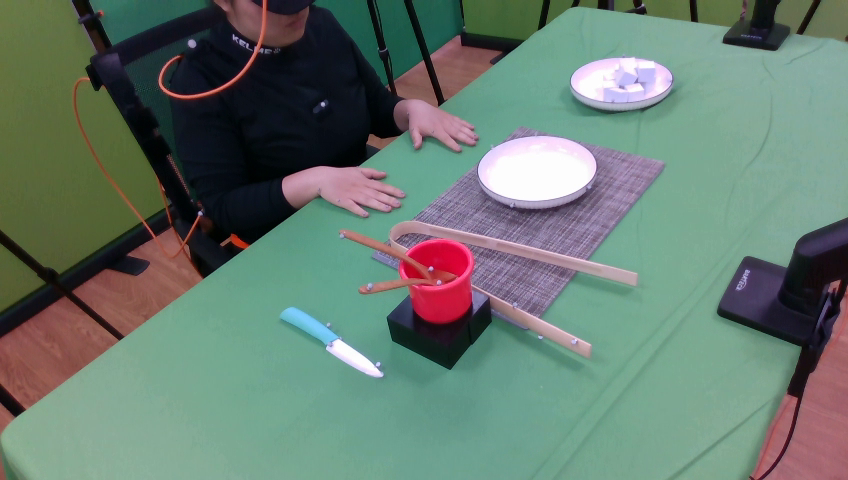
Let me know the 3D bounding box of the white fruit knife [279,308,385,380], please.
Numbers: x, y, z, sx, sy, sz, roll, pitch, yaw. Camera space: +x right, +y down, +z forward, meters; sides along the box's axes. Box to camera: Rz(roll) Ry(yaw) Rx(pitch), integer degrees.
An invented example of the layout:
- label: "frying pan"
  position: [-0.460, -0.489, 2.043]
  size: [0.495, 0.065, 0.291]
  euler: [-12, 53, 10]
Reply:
- label: "white fruit knife"
  position: [-0.130, 0.143, 0.845]
  size: [0.205, 0.016, 0.027]
  euler: [25, 80, 32]

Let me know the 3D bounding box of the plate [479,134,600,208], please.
- label: "plate"
  position: [0.202, -0.117, 1.065]
  size: [0.207, 0.039, 0.206]
  euler: [-5, 40, 5]

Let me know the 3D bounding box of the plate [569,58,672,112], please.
- label: "plate"
  position: [0.411, -0.323, 1.274]
  size: [0.209, 0.038, 0.208]
  euler: [-5, 41, 5]

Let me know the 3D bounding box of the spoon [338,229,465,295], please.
- label: "spoon"
  position: [-0.025, 0.026, 0.776]
  size: [0.021, 0.195, 0.041]
  euler: [-41, 34, 32]

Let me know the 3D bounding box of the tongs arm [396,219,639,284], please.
- label: "tongs arm"
  position: [0.131, 0.015, 0.926]
  size: [0.385, 0.028, 0.028]
  euler: [13, 50, 25]

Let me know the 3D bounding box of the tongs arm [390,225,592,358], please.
- label: "tongs arm"
  position: [0.082, 0.063, 0.879]
  size: [0.381, 0.026, 0.051]
  euler: [25, 52, 34]

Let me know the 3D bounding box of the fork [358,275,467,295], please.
- label: "fork"
  position: [-0.009, 0.056, 0.739]
  size: [0.028, 0.018, 0.209]
  euler: [48, 23, 26]
